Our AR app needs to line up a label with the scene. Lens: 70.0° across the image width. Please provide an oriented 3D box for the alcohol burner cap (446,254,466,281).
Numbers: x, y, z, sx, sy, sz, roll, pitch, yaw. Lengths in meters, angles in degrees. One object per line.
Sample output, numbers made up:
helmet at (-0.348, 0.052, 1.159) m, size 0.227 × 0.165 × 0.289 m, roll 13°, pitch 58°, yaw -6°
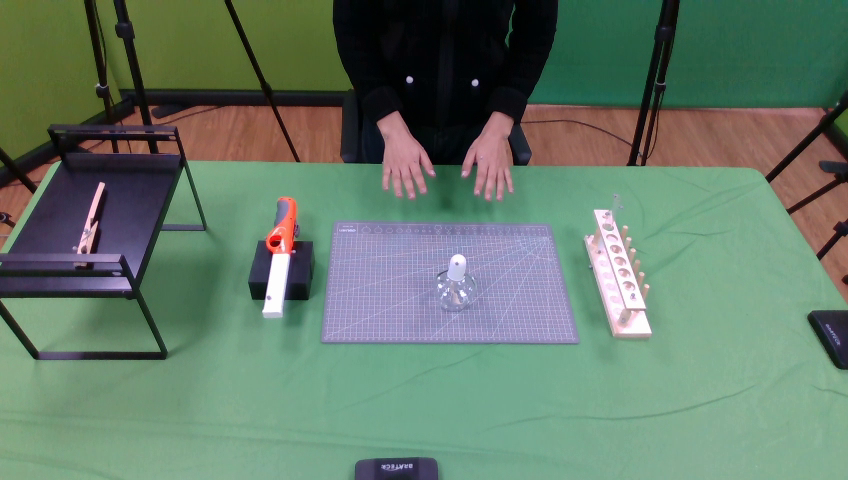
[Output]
alcohol burner cap at (0.058, 0.044, 1.042) m, size 0.034 × 0.048 × 0.033 m, roll 4°, pitch 45°, yaw -4°

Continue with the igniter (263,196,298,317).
igniter at (-0.259, 0.020, 1.089) m, size 0.057 × 0.025 × 0.274 m, roll -2°, pitch 49°, yaw -3°

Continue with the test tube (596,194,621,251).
test tube at (0.346, -0.029, 1.141) m, size 0.017 × 0.151 × 0.017 m, roll 0°, pitch 50°, yaw 0°

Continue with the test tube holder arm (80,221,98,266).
test tube holder arm at (-0.503, 0.004, 0.910) m, size 0.010 × 0.015 × 0.087 m, roll 26°, pitch 32°, yaw -36°

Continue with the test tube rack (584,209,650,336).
test tube rack at (0.365, 0.056, 1.129) m, size 0.067 × 0.085 × 0.240 m, roll 1°, pitch 46°, yaw -3°

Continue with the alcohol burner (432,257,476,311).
alcohol burner at (0.055, 0.070, 1.068) m, size 0.078 × 0.119 × 0.077 m, roll 3°, pitch 45°, yaw -3°

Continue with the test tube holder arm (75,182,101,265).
test tube holder arm at (-0.518, -0.030, 0.937) m, size 0.013 × 0.015 × 0.177 m, roll 25°, pitch 33°, yaw -37°
